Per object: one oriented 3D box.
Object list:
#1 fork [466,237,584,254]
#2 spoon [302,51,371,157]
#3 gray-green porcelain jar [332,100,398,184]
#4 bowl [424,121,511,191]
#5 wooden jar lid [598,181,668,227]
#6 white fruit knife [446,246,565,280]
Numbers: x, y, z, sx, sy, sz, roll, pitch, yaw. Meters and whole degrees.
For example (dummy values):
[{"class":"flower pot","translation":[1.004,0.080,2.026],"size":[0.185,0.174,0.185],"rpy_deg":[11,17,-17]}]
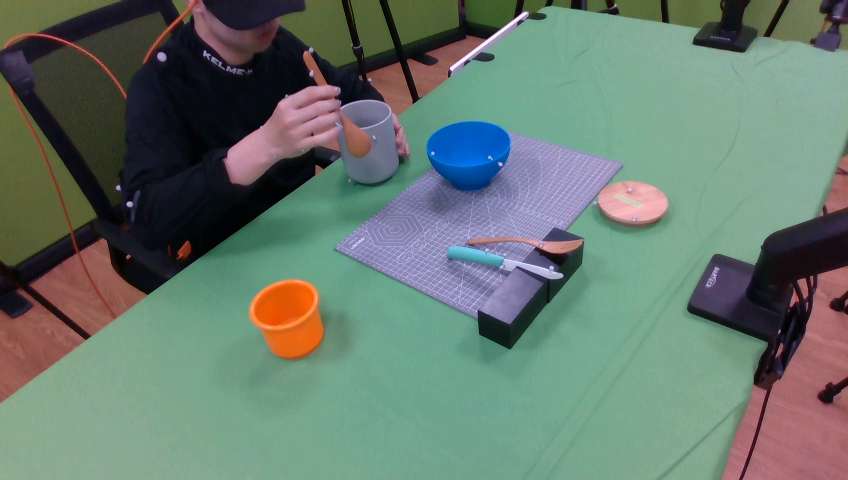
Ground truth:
[{"class":"fork","translation":[0.142,0.005,0.894],"size":[0.205,0.019,0.028],"rpy_deg":[4,43,41]},{"class":"spoon","translation":[-0.132,-0.198,0.905],"size":[0.041,0.195,0.021],"rpy_deg":[-36,39,-5]},{"class":"gray-green porcelain jar","translation":[-0.105,-0.174,1.108],"size":[0.106,0.127,0.105],"rpy_deg":[-4,40,4]},{"class":"bowl","translation":[0.080,-0.140,1.074],"size":[0.151,0.077,0.150],"rpy_deg":[-4,40,4]},{"class":"wooden jar lid","translation":[0.340,-0.058,0.988],"size":[0.108,0.021,0.108],"rpy_deg":[-5,41,5]},{"class":"white fruit knife","translation":[0.111,0.033,0.868],"size":[0.205,0.027,0.016],"rpy_deg":[11,44,40]}]
